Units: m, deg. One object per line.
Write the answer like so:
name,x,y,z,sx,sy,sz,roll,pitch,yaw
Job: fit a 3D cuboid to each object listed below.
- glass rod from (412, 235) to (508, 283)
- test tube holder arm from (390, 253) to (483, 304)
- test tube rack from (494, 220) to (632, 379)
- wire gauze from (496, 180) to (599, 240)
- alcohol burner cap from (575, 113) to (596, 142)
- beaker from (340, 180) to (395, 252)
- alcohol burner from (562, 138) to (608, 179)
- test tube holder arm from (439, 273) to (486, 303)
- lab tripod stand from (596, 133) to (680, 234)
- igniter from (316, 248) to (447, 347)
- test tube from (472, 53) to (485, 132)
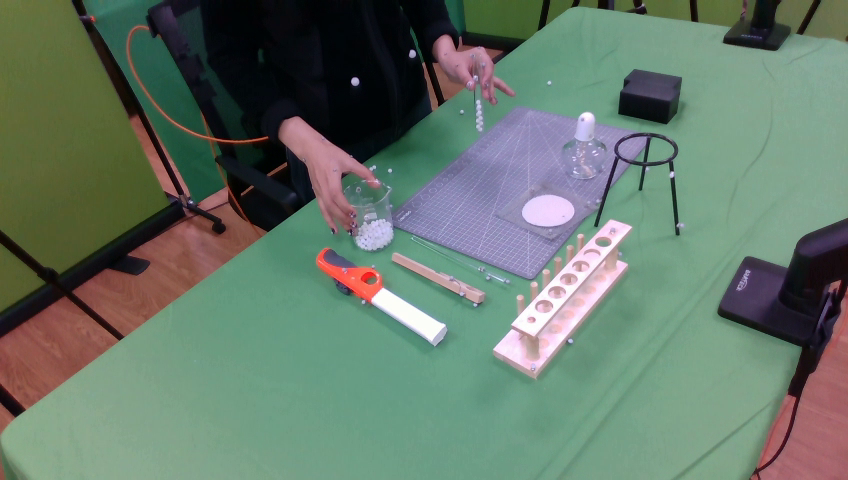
glass rod,0.052,0.028,0.951,0.198,0.008,0.008,25,52,37
test tube holder arm,0.015,0.056,0.916,0.177,0.015,0.013,24,15,33
test tube rack,0.191,0.068,0.818,0.066,0.085,0.243,25,51,35
wire gauze,0.206,-0.050,1.011,0.125,0.011,0.120,-34,45,-26
alcohol burner cap,0.277,-0.193,1.028,0.034,0.048,0.033,-2,45,3
beaker,-0.086,-0.037,0.985,0.084,0.101,0.073,-17,41,-12
alcohol burner,0.280,-0.166,1.051,0.078,0.119,0.077,-5,39,4
test tube holder arm,0.053,0.071,0.896,0.087,0.015,0.010,24,15,34
lab tripod stand,0.338,-0.090,0.940,0.148,0.132,0.147,-7,38,6
igniter,-0.074,0.079,0.901,0.274,0.025,0.057,29,64,36
test tube,0.095,-0.253,1.056,0.017,0.151,0.017,-4,42,4
